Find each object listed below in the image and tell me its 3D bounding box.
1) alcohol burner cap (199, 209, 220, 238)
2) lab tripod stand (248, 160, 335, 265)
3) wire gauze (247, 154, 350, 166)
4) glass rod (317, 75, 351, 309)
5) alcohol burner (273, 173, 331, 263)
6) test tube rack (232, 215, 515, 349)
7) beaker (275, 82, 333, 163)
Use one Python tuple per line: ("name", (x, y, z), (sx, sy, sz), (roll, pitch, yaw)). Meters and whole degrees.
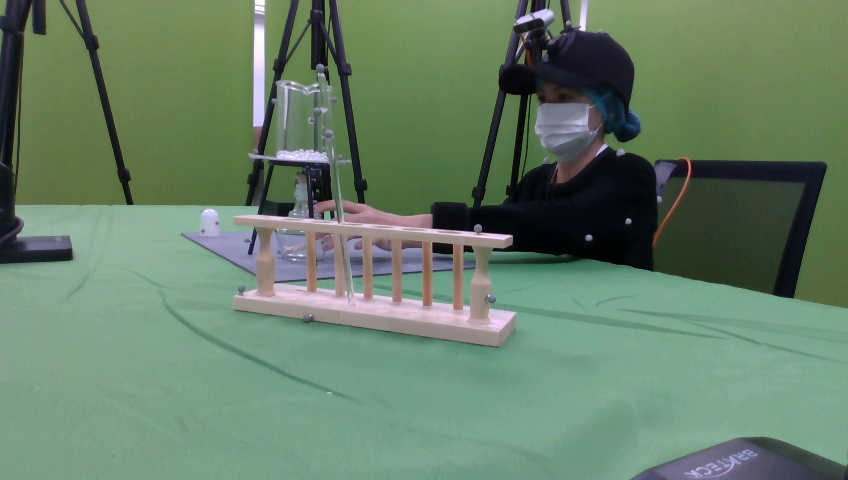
("alcohol burner cap", (-0.356, -0.027, 1.002), (0.034, 0.048, 0.034), (2, 7, 0))
("lab tripod stand", (-0.165, -0.040, 0.817), (0.148, 0.131, 0.148), (5, 8, 0))
("wire gauze", (-0.170, -0.105, 0.802), (0.122, 0.011, 0.124), (-1, 11, -20))
("glass rod", (-0.075, -0.036, 0.502), (0.008, 0.199, 0.008), (-6, 8, 1))
("alcohol burner", (-0.163, -0.030, 0.812), (0.078, 0.119, 0.078), (2, 9, 0))
("test tube rack", (-0.045, 0.028, 0.525), (0.242, 0.085, 0.067), (5, 8, 19))
("beaker", (-0.159, -0.152, 0.795), (0.074, 0.100, 0.083), (1, 8, -15))
